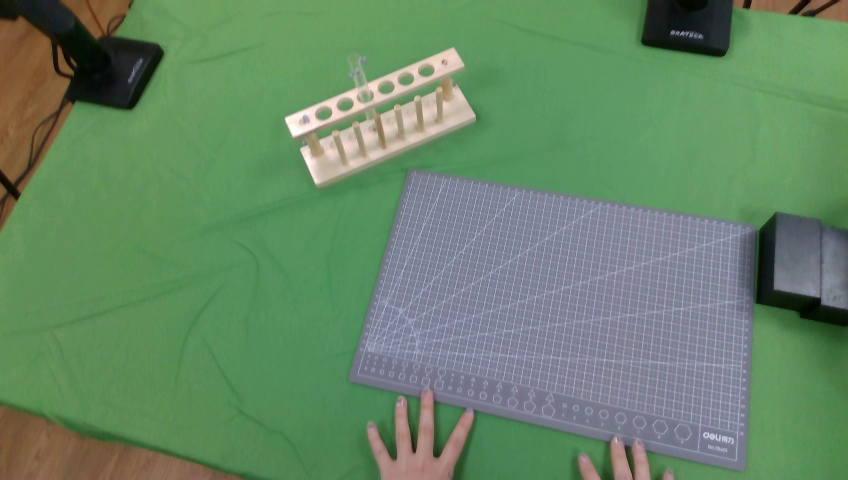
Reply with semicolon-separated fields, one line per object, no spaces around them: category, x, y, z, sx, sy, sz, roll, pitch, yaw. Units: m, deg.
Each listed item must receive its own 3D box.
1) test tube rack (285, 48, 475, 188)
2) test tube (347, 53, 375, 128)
test tube rack;-0.054;-0.163;0.817;0.242;0.086;0.066;-24;66;-6
test tube;-0.077;-0.187;0.775;0.017;0.151;0.017;-1;69;4
